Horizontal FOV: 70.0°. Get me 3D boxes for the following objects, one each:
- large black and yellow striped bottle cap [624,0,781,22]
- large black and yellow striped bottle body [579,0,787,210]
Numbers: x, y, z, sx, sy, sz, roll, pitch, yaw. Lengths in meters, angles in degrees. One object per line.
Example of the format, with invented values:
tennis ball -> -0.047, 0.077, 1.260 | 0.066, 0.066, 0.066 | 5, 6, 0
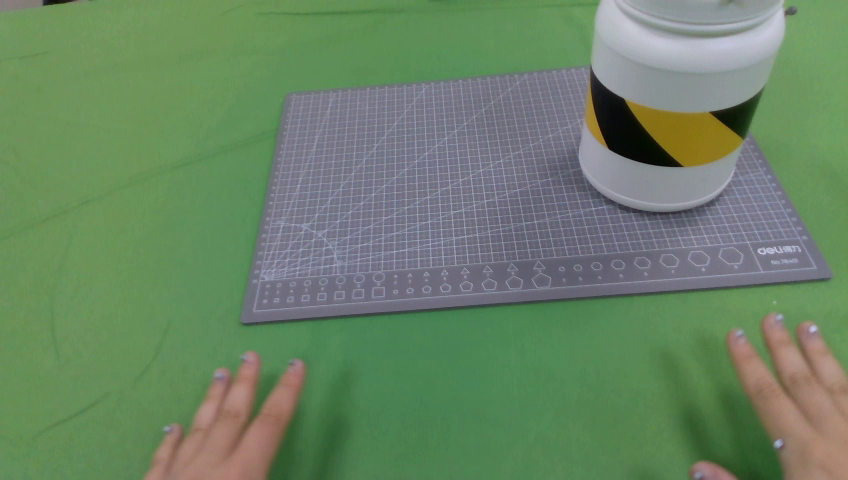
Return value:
large black and yellow striped bottle cap -> 0.185, -0.184, 0.409 | 0.115, 0.019, 0.114 | -2, 49, 3
large black and yellow striped bottle body -> 0.194, -0.129, 0.472 | 0.131, 0.186, 0.129 | -3, 49, 4
